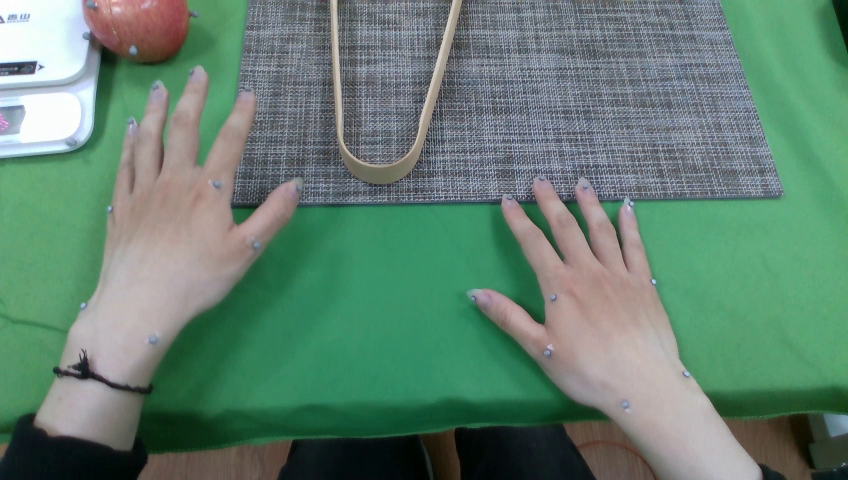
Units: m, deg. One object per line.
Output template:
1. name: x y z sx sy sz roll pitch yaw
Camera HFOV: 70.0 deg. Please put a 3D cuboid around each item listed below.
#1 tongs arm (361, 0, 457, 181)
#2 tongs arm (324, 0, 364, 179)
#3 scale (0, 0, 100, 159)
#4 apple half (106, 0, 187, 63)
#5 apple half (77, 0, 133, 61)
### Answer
1. tongs arm: 0.007 -0.220 0.553 0.051 0.027 0.382 10 65 1
2. tongs arm: -0.078 -0.225 0.553 0.028 0.028 0.384 -2 64 -8
3. scale: -0.353 -0.157 0.511 0.149 0.032 0.199 -6 65 -5
4. apple half: -0.229 -0.193 0.510 0.053 0.075 0.080 -10 61 -10
5. apple half: -0.267 -0.186 0.504 0.033 0.082 0.080 -10 65 -10
